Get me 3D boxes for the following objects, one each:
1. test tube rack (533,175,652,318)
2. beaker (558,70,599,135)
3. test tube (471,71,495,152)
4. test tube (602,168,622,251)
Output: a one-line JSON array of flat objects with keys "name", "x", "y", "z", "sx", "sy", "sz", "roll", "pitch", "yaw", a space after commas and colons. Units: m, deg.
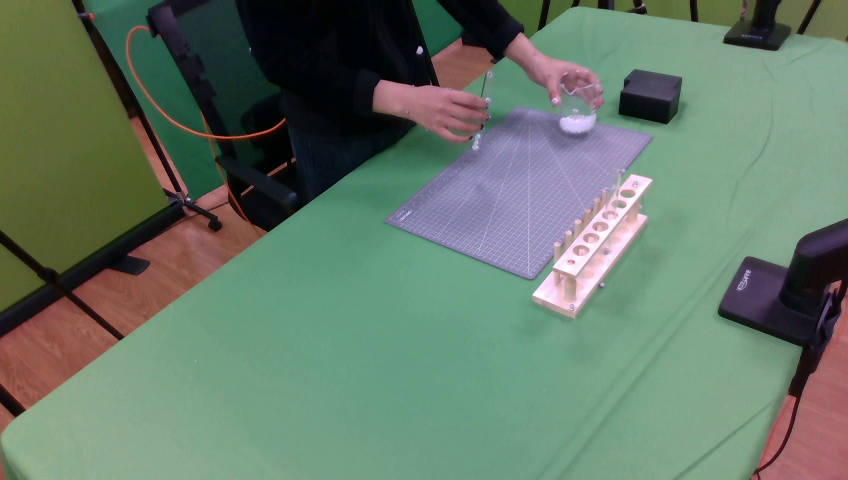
[{"name": "test tube rack", "x": 0.251, "y": -0.001, "z": 0.889, "sx": 0.066, "sy": 0.085, "sz": 0.243, "roll": 22, "pitch": 49, "yaw": 33}, {"name": "beaker", "x": 0.290, "y": -0.256, "z": 1.140, "sx": 0.073, "sy": 0.101, "sz": 0.084, "roll": 13, "pitch": 46, "yaw": 28}, {"name": "test tube", "x": 0.102, "y": -0.221, "z": 1.053, "sx": 0.017, "sy": 0.151, "sz": 0.017, "roll": 6, "pitch": 36, "yaw": -4}, {"name": "test tube", "x": 0.264, "y": -0.039, "z": 0.853, "sx": 0.017, "sy": 0.151, "sz": 0.017, "roll": -5, "pitch": 44, "yaw": 6}]
